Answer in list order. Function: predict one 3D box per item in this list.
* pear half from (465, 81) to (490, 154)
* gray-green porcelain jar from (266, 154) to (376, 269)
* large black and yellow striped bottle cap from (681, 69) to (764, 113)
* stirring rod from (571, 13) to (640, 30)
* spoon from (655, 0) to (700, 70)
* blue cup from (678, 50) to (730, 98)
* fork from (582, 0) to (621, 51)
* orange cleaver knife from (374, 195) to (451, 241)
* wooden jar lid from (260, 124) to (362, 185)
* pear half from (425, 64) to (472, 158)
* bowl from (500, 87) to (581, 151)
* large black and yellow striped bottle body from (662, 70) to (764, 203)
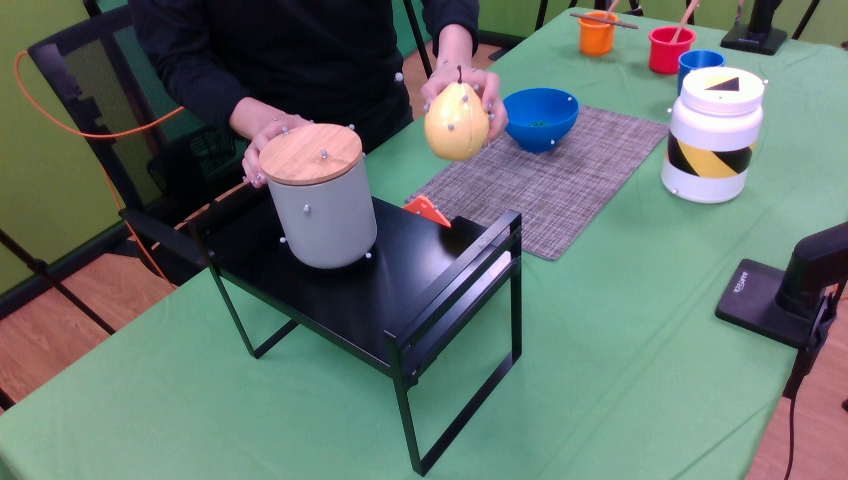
[{"bbox_3d":[0.064,-0.150,0.743,0.031,0.088,0.070,-4,24,-12],"label":"pear half"},{"bbox_3d":[-0.112,-0.039,0.685,0.106,0.127,0.105,-4,40,4],"label":"gray-green porcelain jar"},{"bbox_3d":[0.453,-0.229,0.921,0.115,0.019,0.114,-4,39,4],"label":"large black and yellow striped bottle cap"},{"bbox_3d":[0.419,-0.508,1.404,0.174,0.006,0.014,28,55,35],"label":"stirring rod"},{"bbox_3d":[0.568,-0.463,1.337,0.041,0.022,0.193,30,97,37],"label":"spoon"},{"bbox_3d":[0.542,-0.310,1.194,0.092,0.101,0.092,-6,41,6],"label":"blue cup"},{"bbox_3d":[0.446,-0.539,1.438,0.207,0.019,0.028,-57,35,12],"label":"fork"},{"bbox_3d":[-0.037,-0.029,0.973,0.210,0.077,0.012,-8,33,50],"label":"orange cleaver knife"},{"bbox_3d":[-0.119,-0.088,0.644,0.108,0.021,0.108,-3,40,3],"label":"wooden jar lid"},{"bbox_3d":[0.030,-0.157,0.733,0.056,0.110,0.076,-4,23,-12],"label":"pear half"},{"bbox_3d":[0.221,-0.223,1.156,0.151,0.077,0.150,-4,40,4],"label":"bowl"},{"bbox_3d":[0.464,-0.166,0.976,0.131,0.185,0.130,-5,41,5],"label":"large black and yellow striped bottle body"}]
